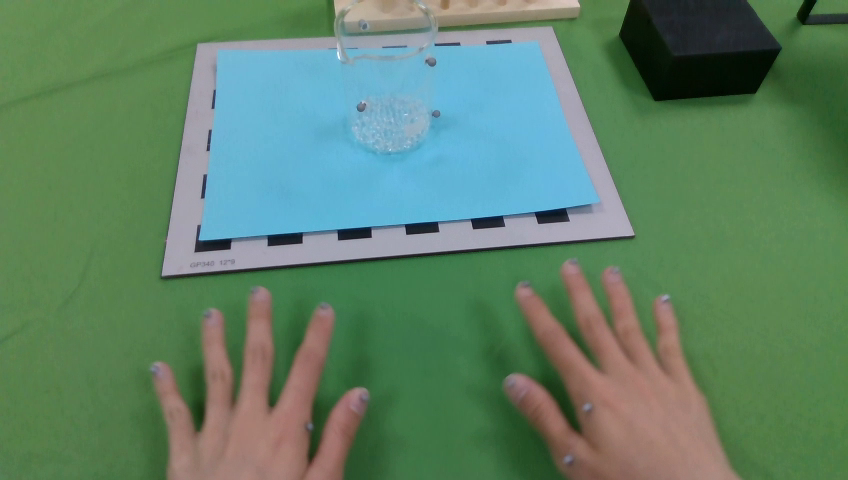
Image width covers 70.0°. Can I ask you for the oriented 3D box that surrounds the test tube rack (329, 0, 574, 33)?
[{"bbox_3d":[0.028,-0.264,0.586,0.243,0.086,0.066,-6,54,-7],"label":"test tube rack"}]

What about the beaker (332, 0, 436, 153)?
[{"bbox_3d":[-0.032,-0.123,0.469,0.073,0.101,0.084,35,60,21],"label":"beaker"}]
